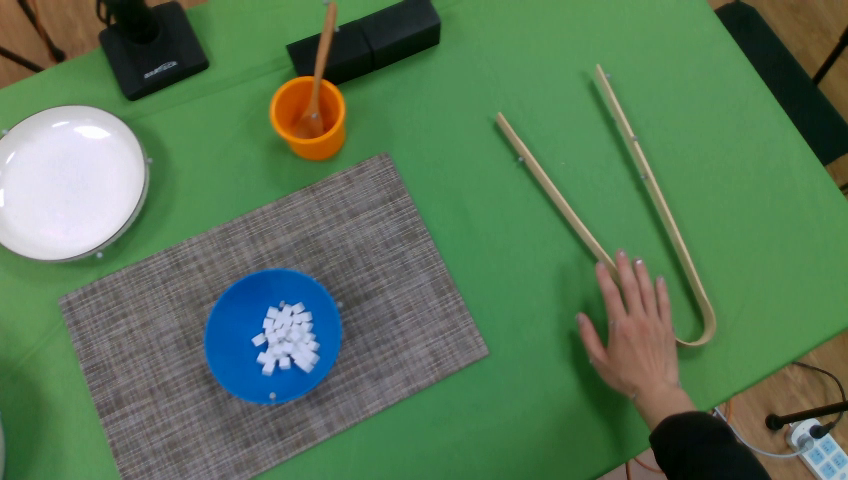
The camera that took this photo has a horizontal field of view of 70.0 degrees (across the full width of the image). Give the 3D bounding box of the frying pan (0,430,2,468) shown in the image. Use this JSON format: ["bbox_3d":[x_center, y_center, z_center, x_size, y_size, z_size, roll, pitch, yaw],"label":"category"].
[{"bbox_3d":[-0.558,0.336,0.629,0.307,0.103,0.484,-28,70,-7],"label":"frying pan"}]

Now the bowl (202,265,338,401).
[{"bbox_3d":[-0.170,0.111,0.706,0.151,0.077,0.150,1,76,-2],"label":"bowl"}]

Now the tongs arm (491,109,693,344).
[{"bbox_3d":[0.206,-0.020,0.780,0.028,0.028,0.386,-34,79,-11],"label":"tongs arm"}]

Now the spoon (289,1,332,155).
[{"bbox_3d":[-0.137,-0.196,0.753,0.041,0.195,0.021,22,32,7],"label":"spoon"}]

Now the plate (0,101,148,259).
[{"bbox_3d":[-0.453,-0.074,0.769,0.208,0.039,0.206,0,76,-1],"label":"plate"}]

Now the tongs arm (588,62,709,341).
[{"bbox_3d":[0.279,-0.056,0.787,0.051,0.026,0.383,-22,79,-5],"label":"tongs arm"}]
